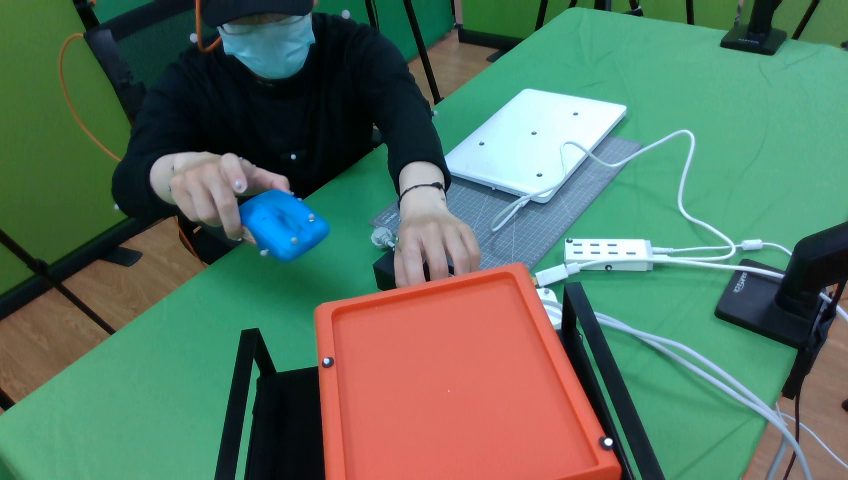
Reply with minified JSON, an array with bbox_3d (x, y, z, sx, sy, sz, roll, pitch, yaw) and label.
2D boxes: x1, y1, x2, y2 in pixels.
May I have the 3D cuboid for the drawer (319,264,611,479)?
[{"bbox_3d":[0.020,0.129,0.497,0.195,0.073,0.210,-11,41,-5],"label":"drawer"}]

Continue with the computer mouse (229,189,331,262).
[{"bbox_3d":[-0.152,-0.019,0.626,0.063,0.041,0.116,-35,43,-30],"label":"computer mouse"}]

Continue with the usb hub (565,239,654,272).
[{"bbox_3d":[0.275,0.022,0.906,0.125,0.025,0.049,1,41,9],"label":"usb hub"}]

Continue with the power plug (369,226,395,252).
[{"bbox_3d":[-0.065,0.009,0.956,0.035,0.053,0.072,-24,52,2],"label":"power plug"}]

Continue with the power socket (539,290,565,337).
[{"bbox_3d":[0.081,0.112,0.822,0.227,0.033,0.072,-7,41,-1],"label":"power socket"}]

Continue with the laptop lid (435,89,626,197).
[{"bbox_3d":[0.211,-0.202,1.165,0.240,0.013,0.358,21,47,32],"label":"laptop lid"}]

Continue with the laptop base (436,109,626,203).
[{"bbox_3d":[0.214,-0.193,1.172,0.233,0.023,0.355,19,46,32],"label":"laptop base"}]

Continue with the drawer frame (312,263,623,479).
[{"bbox_3d":[0.021,0.130,0.493,0.202,0.083,0.212,-11,41,-6],"label":"drawer frame"}]

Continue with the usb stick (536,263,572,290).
[{"bbox_3d":[0.182,0.057,0.876,0.059,0.021,0.027,-31,0,-6],"label":"usb stick"}]
